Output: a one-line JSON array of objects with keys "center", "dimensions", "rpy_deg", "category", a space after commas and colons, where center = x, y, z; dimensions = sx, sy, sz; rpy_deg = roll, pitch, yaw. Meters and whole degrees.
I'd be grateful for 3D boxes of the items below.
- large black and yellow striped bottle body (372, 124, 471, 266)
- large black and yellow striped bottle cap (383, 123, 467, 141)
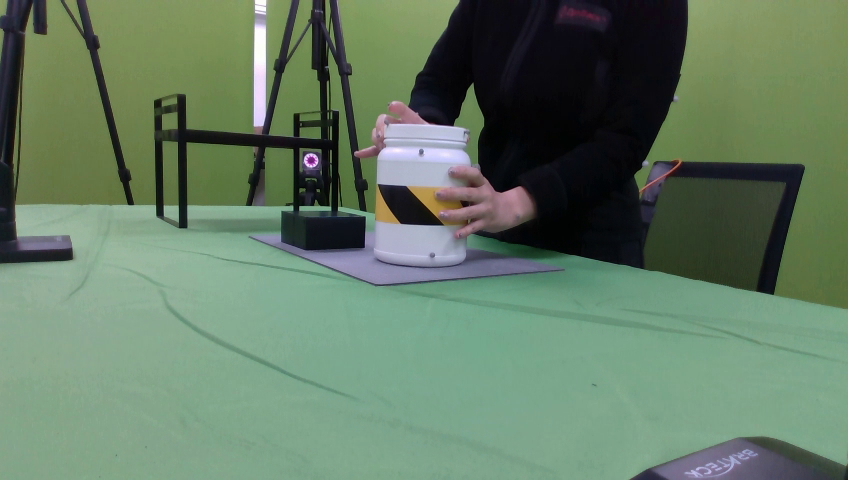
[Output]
[{"center": [-0.003, -0.064, 0.833], "dimensions": [0.131, 0.184, 0.130], "rpy_deg": [3, 7, 0], "category": "large black and yellow striped bottle body"}, {"center": [0.001, -0.147, 0.824], "dimensions": [0.115, 0.019, 0.115], "rpy_deg": [3, 9, 0], "category": "large black and yellow striped bottle cap"}]
